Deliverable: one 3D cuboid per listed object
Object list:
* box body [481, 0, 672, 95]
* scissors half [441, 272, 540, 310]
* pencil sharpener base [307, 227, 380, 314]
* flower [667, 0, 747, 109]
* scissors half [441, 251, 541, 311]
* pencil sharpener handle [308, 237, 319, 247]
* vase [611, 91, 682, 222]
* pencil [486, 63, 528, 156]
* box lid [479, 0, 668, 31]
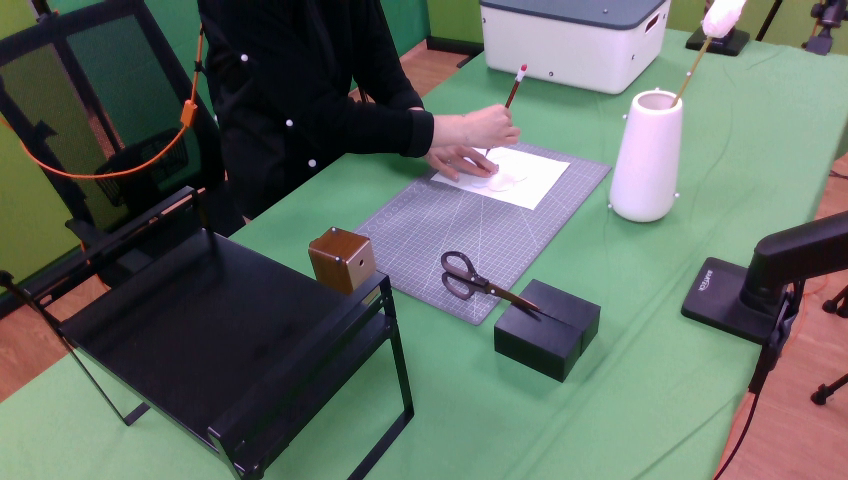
[{"bbox_3d":[0.341,-0.480,1.381,0.361,0.161,0.255,22,48,30],"label":"box body"},{"bbox_3d":[0.089,0.075,0.832,0.013,0.040,0.173,-23,22,-39],"label":"scissors half"},{"bbox_3d":[-0.116,0.043,0.875,0.076,0.107,0.061,18,47,27],"label":"pencil sharpener base"},{"bbox_3d":[0.354,-0.187,0.879,0.038,0.362,0.044,31,48,14],"label":"flower"},{"bbox_3d":[0.087,0.056,0.824,0.173,0.040,0.013,30,43,35],"label":"scissors half"},{"bbox_3d":[-0.159,0.017,0.892,0.030,0.068,0.036,18,61,28],"label":"pencil sharpener handle"},{"bbox_3d":[0.348,-0.125,0.935,0.098,0.201,0.097,-3,40,3],"label":"vase"},{"bbox_3d":[0.145,-0.228,1.082,0.012,0.194,0.012,12,42,-10],"label":"pencil"},{"bbox_3d":[0.335,-0.536,1.331,0.368,0.015,0.264,23,49,30],"label":"box lid"}]
